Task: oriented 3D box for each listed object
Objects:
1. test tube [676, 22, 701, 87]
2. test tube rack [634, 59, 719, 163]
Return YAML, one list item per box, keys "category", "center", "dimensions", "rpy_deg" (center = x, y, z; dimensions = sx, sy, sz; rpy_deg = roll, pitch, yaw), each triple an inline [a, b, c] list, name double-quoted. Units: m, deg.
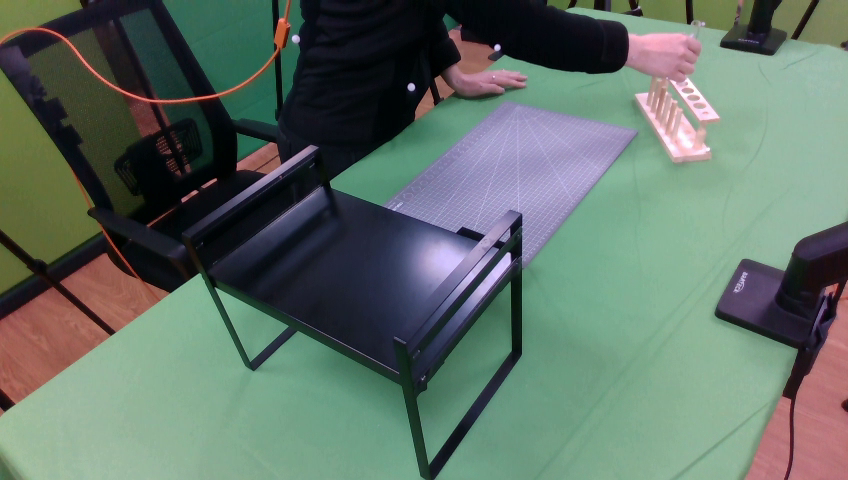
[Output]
- category: "test tube"
  center: [0.472, -0.324, 1.086]
  dimensions: [0.017, 0.151, 0.017]
  rpy_deg: [-4, 55, 7]
- category: "test tube rack"
  center: [0.471, -0.250, 1.148]
  dimensions: [0.067, 0.085, 0.241]
  rpy_deg: [-6, 40, 3]
